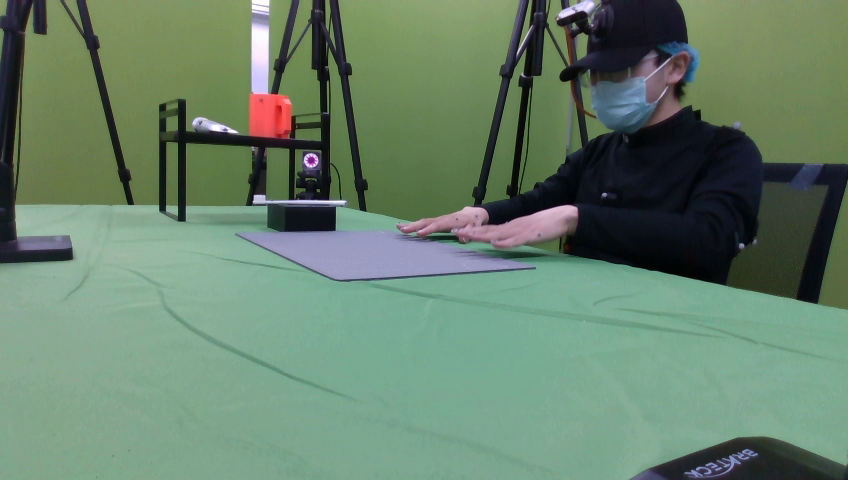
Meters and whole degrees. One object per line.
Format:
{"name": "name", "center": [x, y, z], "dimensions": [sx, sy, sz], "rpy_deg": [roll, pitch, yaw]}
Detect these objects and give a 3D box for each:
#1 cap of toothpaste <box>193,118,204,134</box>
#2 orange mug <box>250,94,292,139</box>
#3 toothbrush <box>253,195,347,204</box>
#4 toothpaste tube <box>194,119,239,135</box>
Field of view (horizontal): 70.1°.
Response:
{"name": "cap of toothpaste", "center": [-0.497, -0.255, 1.350], "dimensions": [0.037, 0.037, 0.011], "rpy_deg": [-4, 14, -38]}
{"name": "orange mug", "center": [-0.339, -0.279, 1.364], "dimensions": [0.125, 0.100, 0.084], "rpy_deg": [4, 6, 45]}
{"name": "toothbrush", "center": [-0.234, -0.076, 1.154], "dimensions": [0.183, 0.016, 0.014], "rpy_deg": [-1, 5, -27]}
{"name": "toothpaste tube", "center": [-0.451, -0.238, 1.289], "dimensions": [0.055, 0.034, 0.164], "rpy_deg": [-8, 16, -38]}
